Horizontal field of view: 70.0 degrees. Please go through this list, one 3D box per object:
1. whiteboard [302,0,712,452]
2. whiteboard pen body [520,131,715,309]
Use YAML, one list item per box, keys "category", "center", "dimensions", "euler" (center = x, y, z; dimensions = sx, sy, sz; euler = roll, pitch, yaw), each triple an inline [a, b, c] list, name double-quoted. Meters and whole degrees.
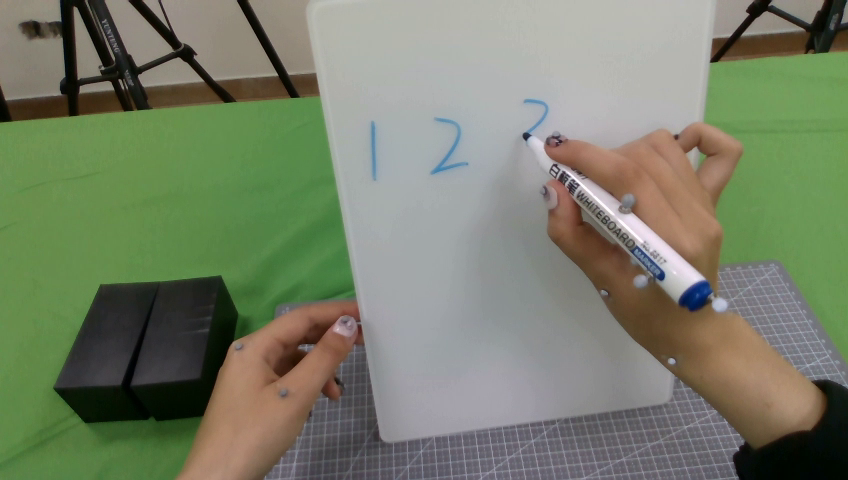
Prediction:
- category: "whiteboard"
  center: [0.055, -0.027, 0.435]
  dimensions: [0.217, 0.308, 0.142]
  euler: [-7, 26, -1]
- category: "whiteboard pen body"
  center: [0.087, -0.018, 0.300]
  dimensions: [0.017, 0.017, 0.139]
  euler: [-22, 48, -17]
